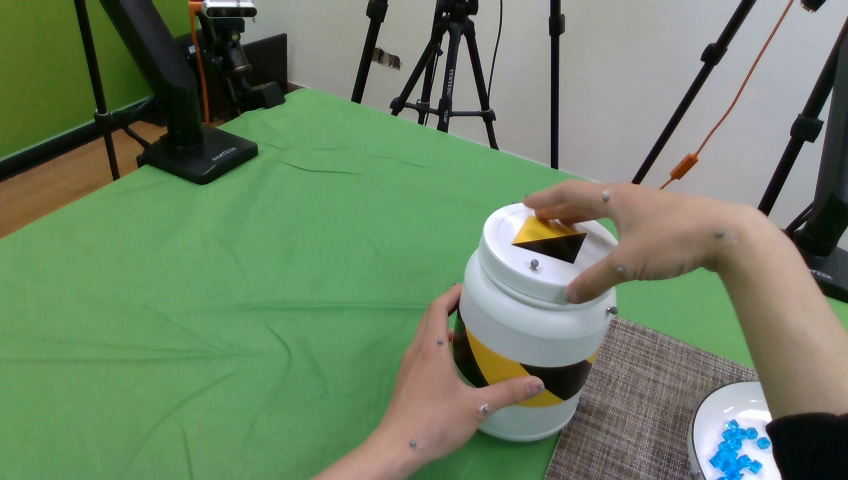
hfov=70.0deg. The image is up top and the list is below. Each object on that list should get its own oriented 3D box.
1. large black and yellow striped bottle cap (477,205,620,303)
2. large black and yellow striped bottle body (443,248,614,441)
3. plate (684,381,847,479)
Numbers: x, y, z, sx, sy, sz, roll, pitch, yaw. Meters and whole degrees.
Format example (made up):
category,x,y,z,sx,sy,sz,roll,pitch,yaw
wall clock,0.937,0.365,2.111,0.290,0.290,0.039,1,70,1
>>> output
category,x,y,z,sx,sy,sz,roll,pitch,yaw
large black and yellow striped bottle cap,0.101,0.008,0.494,0.115,0.019,0.114,6,35,-4
large black and yellow striped bottle body,0.092,0.075,0.544,0.131,0.185,0.129,5,36,-4
plate,0.327,0.214,0.523,0.208,0.039,0.205,6,36,-4
